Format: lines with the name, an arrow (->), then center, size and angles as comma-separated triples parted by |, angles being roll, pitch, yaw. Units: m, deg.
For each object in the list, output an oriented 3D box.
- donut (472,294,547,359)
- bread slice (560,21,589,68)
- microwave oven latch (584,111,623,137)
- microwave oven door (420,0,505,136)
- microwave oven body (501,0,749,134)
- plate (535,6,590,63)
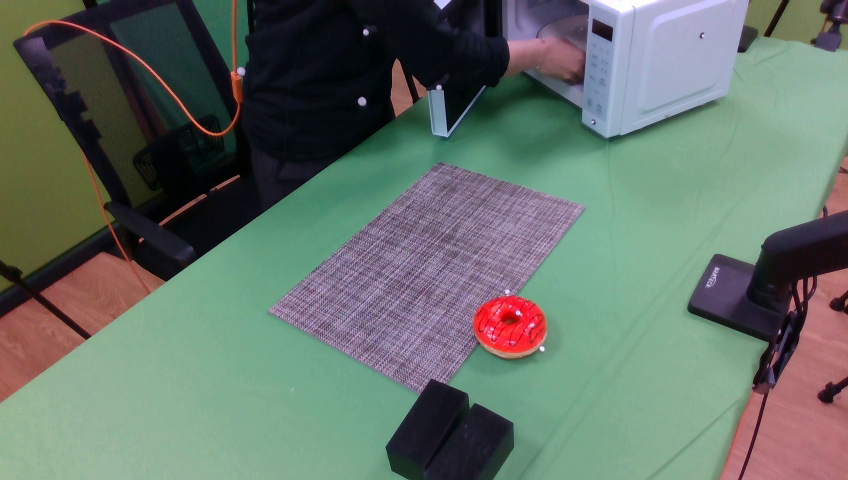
donut -> 0.114, 0.114, 0.803 | 0.099, 0.048, 0.098 | 0, 40, 1
bread slice -> 0.355, -0.424, 1.308 | 0.104, 0.019, 0.131 | 6, 63, 16
microwave oven latch -> 0.337, -0.222, 1.142 | 0.030, 0.029, 0.078 | -21, 42, -14
microwave oven door -> 0.090, -0.409, 1.237 | 0.039, 0.245, 0.356 | 12, 44, 21
microwave oven body -> 0.382, -0.444, 1.246 | 0.327, 0.261, 0.437 | -22, 42, -16
plate -> 0.346, -0.438, 1.303 | 0.207, 0.039, 0.206 | -8, 45, 9
